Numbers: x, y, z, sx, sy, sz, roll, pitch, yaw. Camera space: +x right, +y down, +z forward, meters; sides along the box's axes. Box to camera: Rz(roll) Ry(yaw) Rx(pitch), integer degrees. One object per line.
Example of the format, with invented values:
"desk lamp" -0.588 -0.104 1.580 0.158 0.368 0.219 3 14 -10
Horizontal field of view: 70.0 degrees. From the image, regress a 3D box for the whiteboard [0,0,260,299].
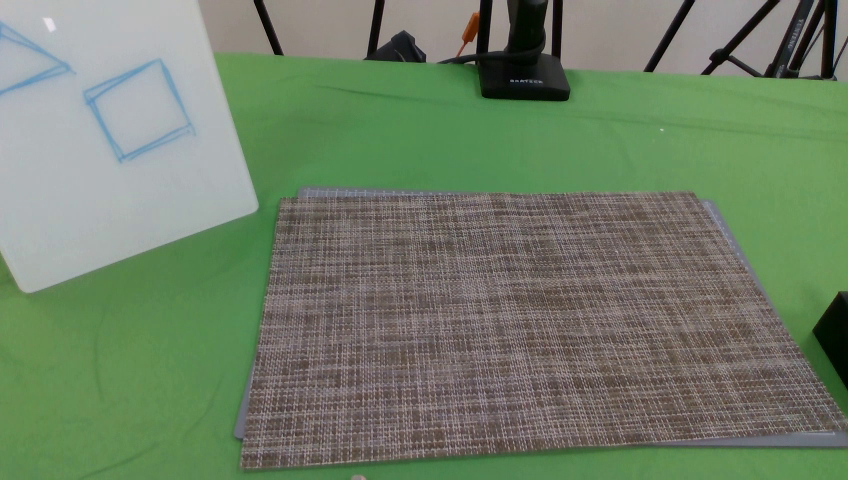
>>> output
"whiteboard" -0.314 -0.143 0.549 0.217 0.308 0.142 -24 29 -27
